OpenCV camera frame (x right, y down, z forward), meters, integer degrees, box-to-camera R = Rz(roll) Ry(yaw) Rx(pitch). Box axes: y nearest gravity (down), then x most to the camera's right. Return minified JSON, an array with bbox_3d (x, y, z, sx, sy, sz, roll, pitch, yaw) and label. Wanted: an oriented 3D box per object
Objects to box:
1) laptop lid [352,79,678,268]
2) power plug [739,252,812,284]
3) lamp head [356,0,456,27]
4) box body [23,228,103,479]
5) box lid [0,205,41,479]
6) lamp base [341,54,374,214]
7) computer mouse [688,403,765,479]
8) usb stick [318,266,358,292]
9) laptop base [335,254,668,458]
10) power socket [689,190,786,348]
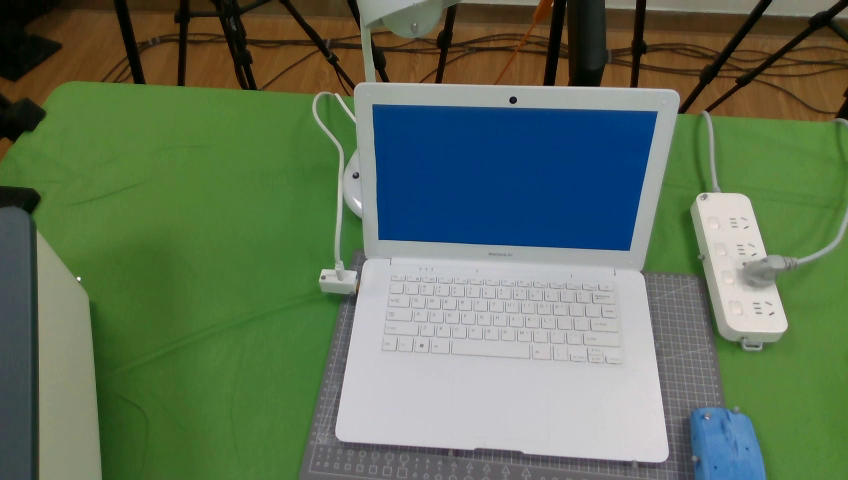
[{"bbox_3d":[0.096,-0.070,0.711,0.356,0.243,0.013,1,31,5],"label":"laptop lid"},{"bbox_3d":[0.414,0.039,0.719,0.072,0.053,0.035,12,55,8],"label":"power plug"},{"bbox_3d":[-0.022,-0.266,0.548,0.112,0.112,0.123,-22,100,-12],"label":"lamp head"},{"bbox_3d":[-0.482,0.179,0.603,0.254,0.162,0.360,-18,56,-11],"label":"box body"},{"bbox_3d":[-0.485,0.133,0.544,0.264,0.015,0.367,-18,57,-11],"label":"box lid"},{"bbox_3d":[-0.048,-0.140,0.803,0.161,0.182,0.177,-29,55,-17],"label":"lamp base"},{"bbox_3d":[0.307,0.220,0.616,0.062,0.041,0.116,7,51,8],"label":"computer mouse"},{"bbox_3d":[-0.100,0.049,0.752,0.059,0.027,0.021,7,50,4],"label":"usb stick"},{"bbox_3d":[0.087,0.126,0.706,0.354,0.023,0.233,2,58,4],"label":"laptop base"},{"bbox_3d":[0.387,0.026,0.758,0.072,0.033,0.224,3,54,3],"label":"power socket"}]
